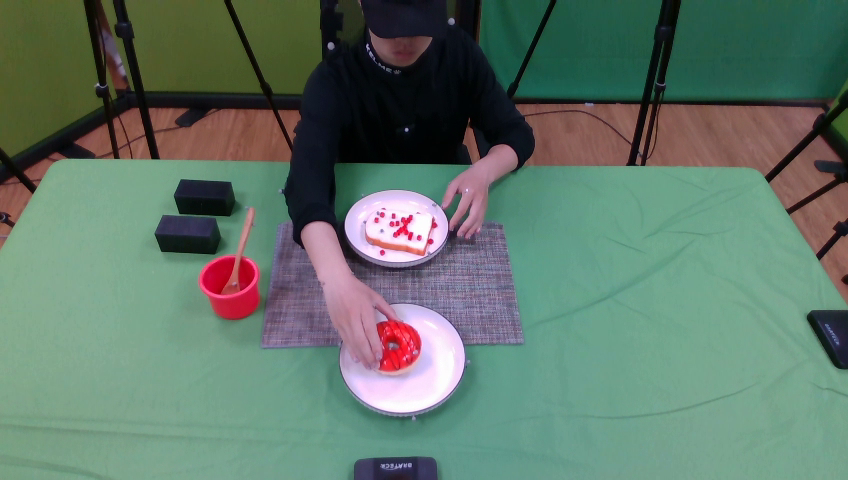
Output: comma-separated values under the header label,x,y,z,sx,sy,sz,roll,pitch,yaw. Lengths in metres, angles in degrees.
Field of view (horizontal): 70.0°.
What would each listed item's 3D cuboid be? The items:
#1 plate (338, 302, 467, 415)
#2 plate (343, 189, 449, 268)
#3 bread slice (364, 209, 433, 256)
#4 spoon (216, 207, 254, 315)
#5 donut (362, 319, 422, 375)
label,x,y,z,sx,sy,sz,roll,pitch,yaw
plate,-0.035,0.194,0.992,0.208,0.039,0.206,2,48,-2
plate,-0.055,-0.019,1.195,0.209,0.038,0.208,2,46,-2
bread slice,-0.053,-0.020,1.199,0.131,0.019,0.104,10,46,4
spoon,-0.323,0.036,1.053,0.041,0.021,0.193,14,90,11
donut,-0.051,0.171,0.976,0.099,0.048,0.098,2,49,-3
